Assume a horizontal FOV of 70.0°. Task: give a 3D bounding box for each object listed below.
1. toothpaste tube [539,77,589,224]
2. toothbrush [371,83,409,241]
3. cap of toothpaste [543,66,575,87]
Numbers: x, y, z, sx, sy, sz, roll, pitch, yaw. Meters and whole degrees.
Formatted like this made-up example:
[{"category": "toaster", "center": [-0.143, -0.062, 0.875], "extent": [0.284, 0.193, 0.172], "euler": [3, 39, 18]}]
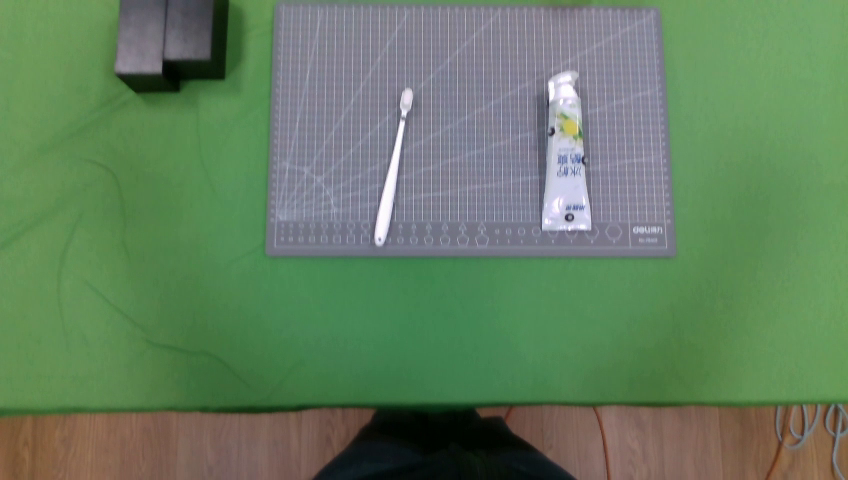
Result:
[{"category": "toothpaste tube", "center": [0.152, -0.100, 0.670], "extent": [0.055, 0.034, 0.164], "euler": [-2, 86, 5]}, {"category": "toothbrush", "center": [-0.036, -0.088, 0.666], "extent": [0.014, 0.016, 0.181], "euler": [12, 83, -14]}, {"category": "cap of toothpaste", "center": [0.152, -0.181, 0.675], "extent": [0.037, 0.037, 0.011], "euler": [-12, 79, -4]}]
